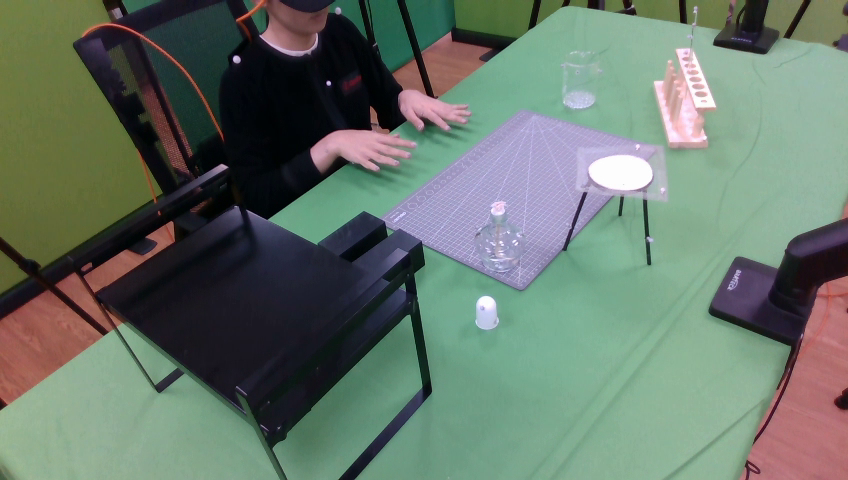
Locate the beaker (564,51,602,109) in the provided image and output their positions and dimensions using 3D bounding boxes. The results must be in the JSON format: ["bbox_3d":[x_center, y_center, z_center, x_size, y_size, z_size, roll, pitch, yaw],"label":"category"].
[{"bbox_3d":[0.326,-0.330,1.250,0.074,0.101,0.084,4,41,13],"label":"beaker"}]

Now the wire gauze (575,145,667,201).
[{"bbox_3d":[0.279,-0.100,0.861,0.124,0.011,0.121,5,43,14],"label":"wire gauze"}]

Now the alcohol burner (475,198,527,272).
[{"bbox_3d":[0.113,-0.012,0.897,0.078,0.119,0.077,-6,40,6],"label":"alcohol burner"}]

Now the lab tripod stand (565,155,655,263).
[{"bbox_3d":[0.285,-0.046,0.901,0.148,0.132,0.147,-5,42,5],"label":"lab tripod stand"}]

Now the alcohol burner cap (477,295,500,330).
[{"bbox_3d":[0.089,0.097,0.833,0.034,0.048,0.033,-4,42,4],"label":"alcohol burner cap"}]

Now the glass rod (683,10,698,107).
[{"bbox_3d":[0.501,-0.336,1.139,0.008,0.201,0.008,-8,43,8],"label":"glass rod"}]

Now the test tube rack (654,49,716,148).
[{"bbox_3d":[0.502,-0.281,1.176,0.066,0.085,0.241,2,42,11],"label":"test tube rack"}]
